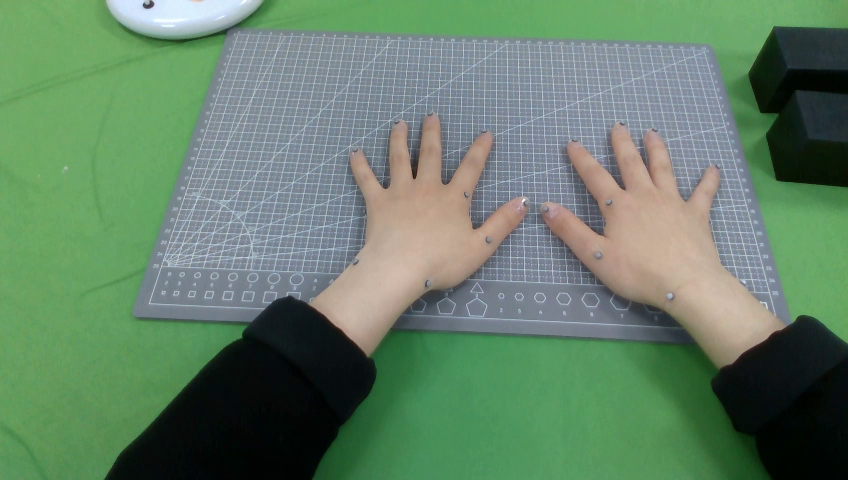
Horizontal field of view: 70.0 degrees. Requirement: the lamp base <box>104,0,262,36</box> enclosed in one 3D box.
[{"bbox_3d":[-0.239,-0.305,0.534,0.160,0.182,0.177,-34,61,-20],"label":"lamp base"}]
